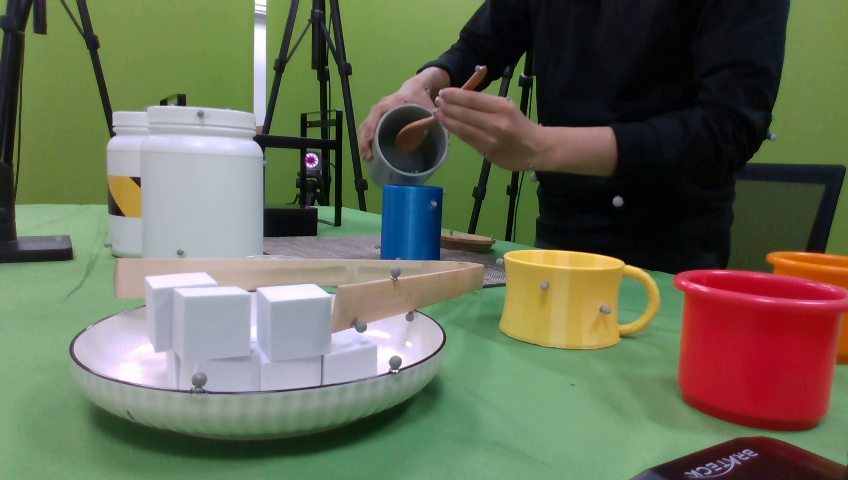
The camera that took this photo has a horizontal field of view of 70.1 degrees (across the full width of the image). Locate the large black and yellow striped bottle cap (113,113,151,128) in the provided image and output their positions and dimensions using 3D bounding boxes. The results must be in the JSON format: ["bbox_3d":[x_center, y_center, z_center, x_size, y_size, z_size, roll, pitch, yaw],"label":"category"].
[{"bbox_3d":[-0.348,-0.154,0.800,0.115,0.019,0.115,2,6,0],"label":"large black and yellow striped bottle cap"}]

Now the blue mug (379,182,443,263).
[{"bbox_3d":[-0.020,-0.026,0.833,0.082,0.106,0.116,1,7,-7],"label":"blue mug"}]

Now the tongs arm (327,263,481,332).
[{"bbox_3d":[-0.003,0.036,0.493,0.050,0.026,0.386,1,-1,19],"label":"tongs arm"}]

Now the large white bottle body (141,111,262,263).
[{"bbox_3d":[-0.254,-0.053,0.697,0.131,0.184,0.130,2,7,0],"label":"large white bottle body"}]

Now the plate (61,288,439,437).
[{"bbox_3d":[-0.095,0.069,0.362,0.208,0.039,0.207,3,7,0],"label":"plate"}]

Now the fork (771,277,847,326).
[{"bbox_3d":[0.335,0.018,0.443,0.028,0.018,0.207,-1,-36,-20],"label":"fork"}]

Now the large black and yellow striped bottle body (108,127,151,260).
[{"bbox_3d":[-0.350,-0.071,0.812,0.131,0.184,0.130,2,7,0],"label":"large black and yellow striped bottle body"}]

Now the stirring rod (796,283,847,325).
[{"bbox_3d":[0.347,0.019,0.460,0.014,0.176,0.006,-17,59,-26],"label":"stirring rod"}]

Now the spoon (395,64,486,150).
[{"bbox_3d":[0.021,-0.167,0.778,0.042,0.021,0.193,5,-21,-34],"label":"spoon"}]

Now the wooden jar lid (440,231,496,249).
[{"bbox_3d":[0.066,0.000,1.011,0.108,0.020,0.108,6,7,0],"label":"wooden jar lid"}]

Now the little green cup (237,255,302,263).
[{"bbox_3d":[-0.150,0.038,0.590,0.061,0.038,0.061,3,6,0],"label":"little green cup"}]

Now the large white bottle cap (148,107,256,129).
[{"bbox_3d":[-0.250,-0.137,0.686,0.115,0.018,0.115,2,8,0],"label":"large white bottle cap"}]

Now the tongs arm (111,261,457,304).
[{"bbox_3d":[-0.080,0.032,0.527,0.028,0.027,0.389,-3,-3,33],"label":"tongs arm"}]

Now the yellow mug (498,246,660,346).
[{"bbox_3d":[0.130,0.045,0.508,0.131,0.064,0.100,4,7,6],"label":"yellow mug"}]

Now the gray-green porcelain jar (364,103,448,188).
[{"bbox_3d":[-0.031,-0.130,0.892,0.106,0.105,0.126,0,-9,-14],"label":"gray-green porcelain jar"}]

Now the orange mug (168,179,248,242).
[{"bbox_3d":[-0.351,-0.050,0.986,0.126,0.101,0.083,-3,8,-9],"label":"orange mug"}]
